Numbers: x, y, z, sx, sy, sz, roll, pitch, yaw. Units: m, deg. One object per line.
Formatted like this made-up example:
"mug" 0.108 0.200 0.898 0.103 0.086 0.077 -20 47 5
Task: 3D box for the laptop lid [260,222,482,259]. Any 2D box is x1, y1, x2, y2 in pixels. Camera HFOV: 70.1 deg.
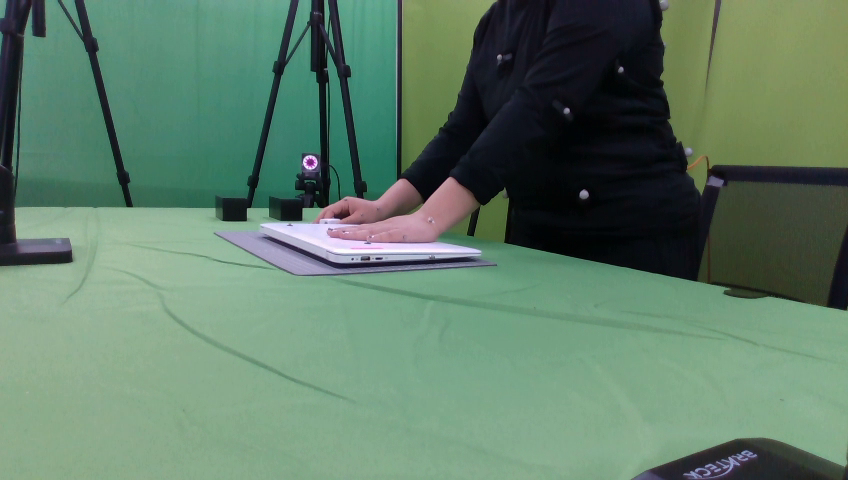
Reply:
"laptop lid" -0.100 -0.003 0.962 0.243 0.013 0.355 2 7 -30

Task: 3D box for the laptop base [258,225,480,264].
"laptop base" -0.103 0.007 0.962 0.237 0.023 0.352 3 6 -32

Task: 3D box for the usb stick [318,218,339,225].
"usb stick" -0.185 -0.027 1.151 0.021 0.027 0.059 5 11 22
